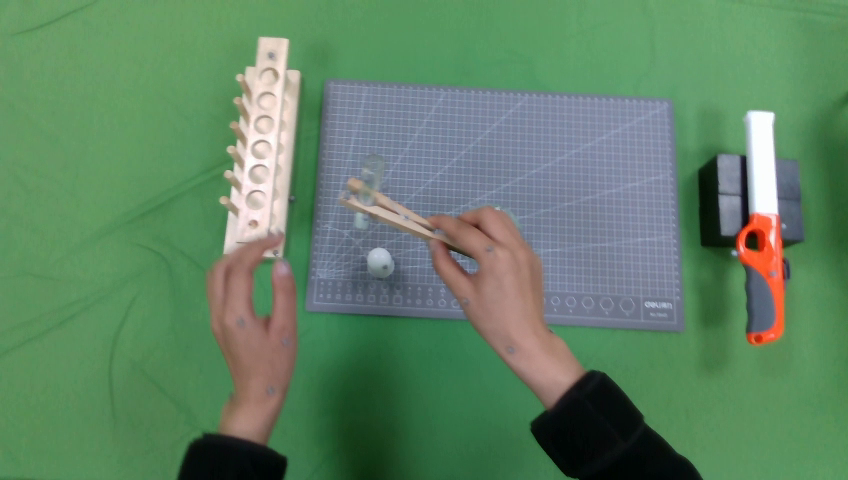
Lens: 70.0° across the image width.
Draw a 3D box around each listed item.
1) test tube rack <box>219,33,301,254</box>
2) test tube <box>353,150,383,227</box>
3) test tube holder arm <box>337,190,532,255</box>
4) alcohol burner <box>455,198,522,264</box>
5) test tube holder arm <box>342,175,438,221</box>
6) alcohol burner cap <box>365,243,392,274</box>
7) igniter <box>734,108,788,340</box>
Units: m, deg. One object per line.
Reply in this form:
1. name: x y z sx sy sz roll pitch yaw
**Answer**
1. test tube rack: -0.195 -0.111 0.708 0.067 0.085 0.241 4 77 -1
2. test tube: -0.050 -0.040 0.522 0.017 0.150 0.017 3 73 -9
3. test tube holder arm: 0.011 -0.014 0.538 0.179 0.015 0.013 16 56 -10
4. alcohol burner: 0.074 -0.014 0.681 0.078 0.119 0.077 0 78 -1
5. test tube holder arm: -0.030 -0.033 0.535 0.088 0.015 0.010 25 55 -4
6. alcohol burner cap: -0.054 0.019 0.705 0.034 0.048 0.033 1 76 -2
7. igniter: 0.386 -0.022 0.697 0.057 0.025 0.275 5 76 5
